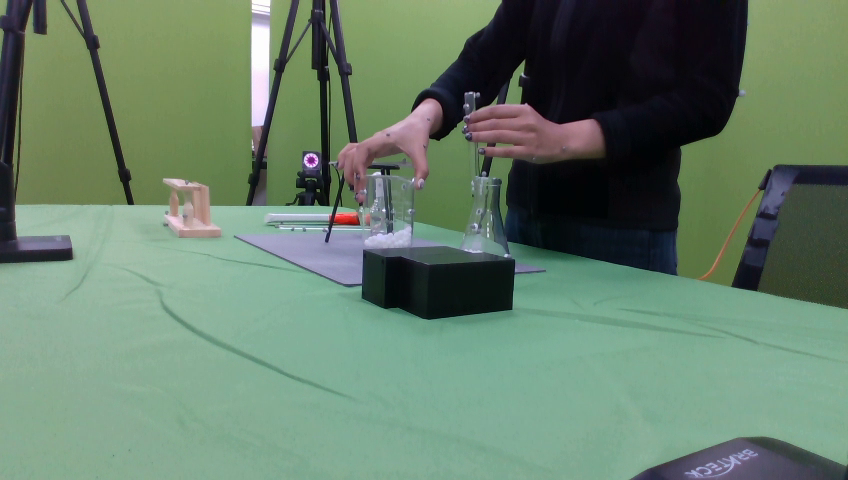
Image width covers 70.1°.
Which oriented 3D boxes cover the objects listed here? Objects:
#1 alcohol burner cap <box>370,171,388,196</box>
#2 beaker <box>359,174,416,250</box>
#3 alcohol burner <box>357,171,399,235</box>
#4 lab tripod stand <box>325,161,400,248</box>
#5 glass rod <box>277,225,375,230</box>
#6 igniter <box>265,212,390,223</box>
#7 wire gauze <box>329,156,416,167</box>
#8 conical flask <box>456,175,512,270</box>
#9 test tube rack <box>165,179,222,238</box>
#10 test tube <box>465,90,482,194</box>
[{"bbox_3d":[-0.085,-0.104,1.120,0.034,0.048,0.034,-4,8,1],"label":"alcohol burner cap"},{"bbox_3d":[-0.047,-0.038,0.814,0.083,0.100,0.074,8,8,42],"label":"beaker"},{"bbox_3d":[-0.085,-0.069,1.125,0.078,0.119,0.078,3,10,0],"label":"alcohol burner"},{"bbox_3d":[-0.083,-0.059,0.977,0.148,0.131,0.148,4,8,0],"label":"lab tripod stand"},{"bbox_3d":[-0.187,-0.024,1.178,0.201,0.008,0.008,1,6,-31],"label":"glass rod"},{"bbox_3d":[-0.196,-0.048,1.285,0.278,0.025,0.057,-2,-2,-30],"label":"igniter"},{"bbox_3d":[-0.079,-0.126,0.972,0.121,0.011,0.125,4,8,5],"label":"wire gauze"},{"bbox_3d":[0.082,-0.025,0.801,0.075,0.122,0.075,2,7,0],"label":"conical flask"},{"bbox_3d":[-0.423,-0.062,1.098,0.067,0.085,0.241,-2,9,-28],"label":"test tube rack"},{"bbox_3d":[0.072,-0.142,0.880,0.017,0.150,0.017,-4,7,1],"label":"test tube"}]
